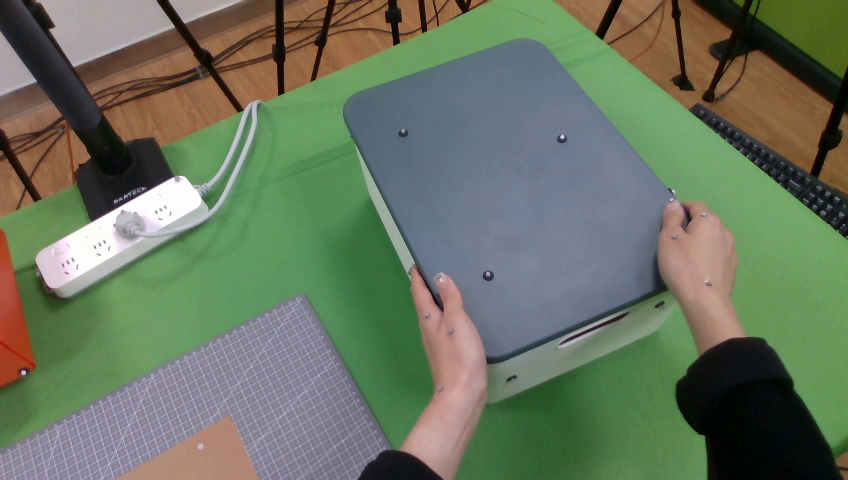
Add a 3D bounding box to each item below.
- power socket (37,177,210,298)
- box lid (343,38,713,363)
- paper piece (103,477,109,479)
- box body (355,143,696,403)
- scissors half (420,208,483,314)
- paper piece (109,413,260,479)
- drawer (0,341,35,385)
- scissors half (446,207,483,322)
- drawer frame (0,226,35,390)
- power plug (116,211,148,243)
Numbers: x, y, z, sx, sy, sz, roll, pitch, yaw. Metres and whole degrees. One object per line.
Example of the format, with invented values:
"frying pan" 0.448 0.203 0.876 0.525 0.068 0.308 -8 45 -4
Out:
"power socket" -0.385 -0.007 0.786 0.227 0.033 0.071 -33 61 -18
"box lid" 0.089 -0.068 0.631 0.263 0.015 0.367 -22 58 -10
"paper piece" -0.346 0.324 0.576 0.136 0.009 0.137 -30 61 -12
"box body" 0.093 -0.028 0.693 0.254 0.162 0.360 -21 58 -11
"scissors half" 0.039 0.019 0.747 0.040 0.013 0.174 24 55 13
"paper piece" -0.234 0.263 0.609 0.135 0.004 0.134 -27 59 -14
"drawer" -0.550 0.091 0.649 0.194 0.074 0.209 -27 58 -13
"scissors half" 0.058 0.026 0.745 0.040 0.013 0.173 14 54 -2
"drawer frame" -0.552 0.090 0.649 0.202 0.083 0.211 -28 58 -14
"power plug" -0.362 -0.006 0.757 0.035 0.053 0.072 -24 58 -13
